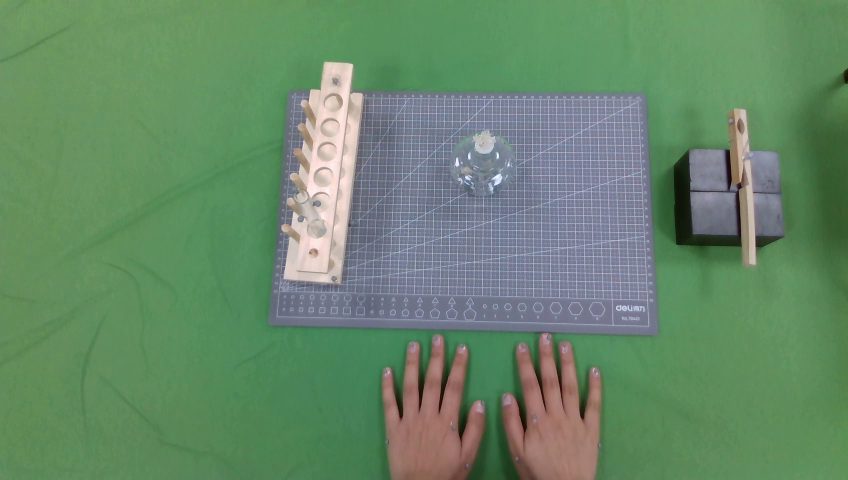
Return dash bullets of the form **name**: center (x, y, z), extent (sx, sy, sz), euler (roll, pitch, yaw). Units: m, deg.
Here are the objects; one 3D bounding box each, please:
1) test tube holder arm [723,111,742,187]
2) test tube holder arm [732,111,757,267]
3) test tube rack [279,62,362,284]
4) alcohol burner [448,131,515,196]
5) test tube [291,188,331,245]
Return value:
- **test tube holder arm**: center (0.347, -0.102, 0.680), extent (0.010, 0.015, 0.087), euler (1, 78, -3)
- **test tube holder arm**: center (0.353, -0.058, 0.670), extent (0.013, 0.015, 0.177), euler (0, 78, -3)
- **test tube rack**: center (-0.124, -0.076, 0.702), extent (0.067, 0.085, 0.241), euler (5, 78, 3)
- **alcohol burner**: center (0.065, -0.092, 0.685), extent (0.078, 0.119, 0.077), euler (-1, 79, 3)
- **test tube**: center (-0.117, -0.019, 0.638), extent (0.017, 0.151, 0.017), euler (0, 72, 1)
